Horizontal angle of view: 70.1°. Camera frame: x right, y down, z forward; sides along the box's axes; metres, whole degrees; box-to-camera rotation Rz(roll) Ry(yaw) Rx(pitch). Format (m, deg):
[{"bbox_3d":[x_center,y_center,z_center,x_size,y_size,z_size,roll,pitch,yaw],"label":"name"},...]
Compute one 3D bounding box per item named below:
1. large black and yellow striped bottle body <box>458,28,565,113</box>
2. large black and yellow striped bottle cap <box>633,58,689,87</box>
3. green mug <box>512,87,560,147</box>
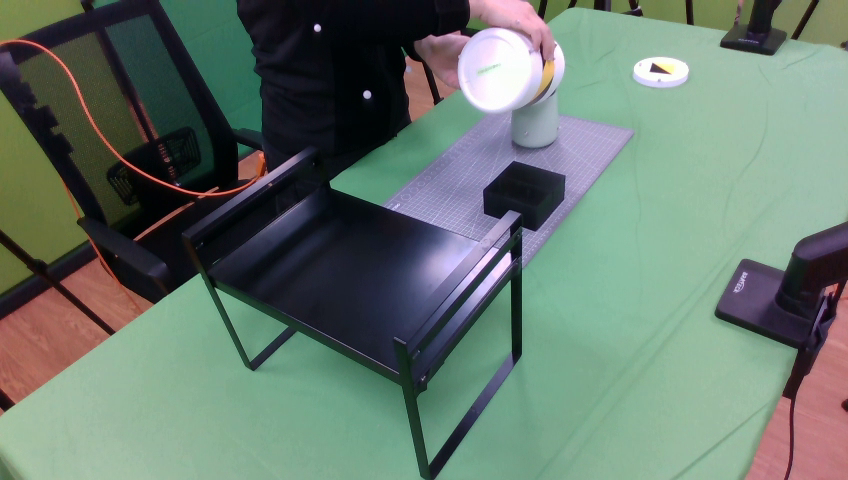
[{"bbox_3d":[0.156,-0.290,1.023,0.130,0.131,0.185,19,27,28],"label":"large black and yellow striped bottle body"},{"bbox_3d":[0.522,-0.370,1.331,0.115,0.019,0.114,-3,41,4],"label":"large black and yellow striped bottle cap"},{"bbox_3d":[0.217,-0.251,1.169,0.092,0.105,0.125,2,41,12],"label":"green mug"}]
